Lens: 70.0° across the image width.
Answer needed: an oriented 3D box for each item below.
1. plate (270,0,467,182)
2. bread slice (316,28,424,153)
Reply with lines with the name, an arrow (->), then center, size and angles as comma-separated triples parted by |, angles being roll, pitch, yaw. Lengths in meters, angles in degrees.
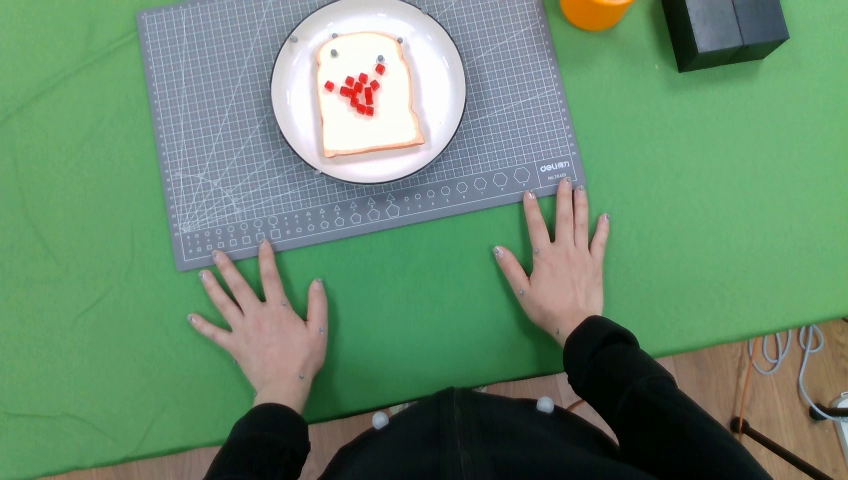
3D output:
plate -> -0.058, -0.162, 0.653 | 0.209, 0.038, 0.208 | 0, 83, -1
bread slice -> -0.066, -0.162, 0.654 | 0.107, 0.018, 0.134 | -12, 83, -3
